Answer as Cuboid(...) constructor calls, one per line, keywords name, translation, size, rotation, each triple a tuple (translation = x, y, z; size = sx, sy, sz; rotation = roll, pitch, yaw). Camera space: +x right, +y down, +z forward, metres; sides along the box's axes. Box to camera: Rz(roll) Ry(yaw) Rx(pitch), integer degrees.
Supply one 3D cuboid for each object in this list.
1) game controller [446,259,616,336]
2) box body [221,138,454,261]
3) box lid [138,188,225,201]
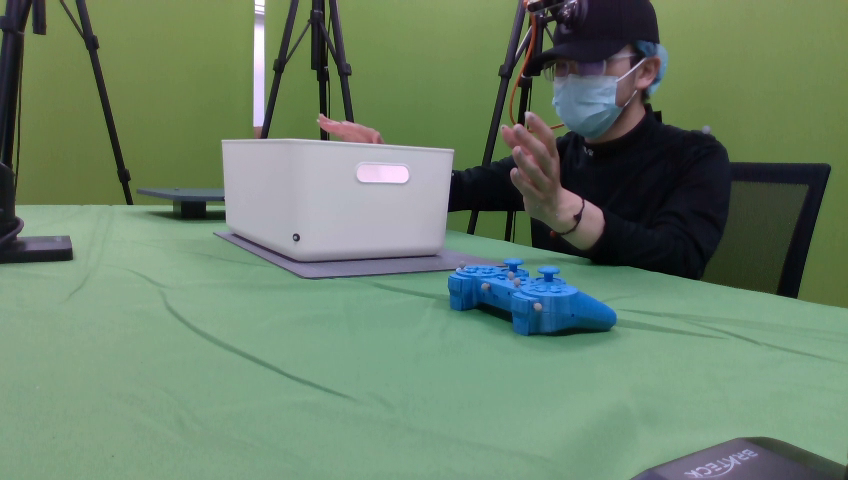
Cuboid(name="game controller", translation=(0.091, 0.048, 0.562), size=(0.097, 0.051, 0.154), rotation=(-6, 10, -32))
Cuboid(name="box body", translation=(-0.151, -0.074, 0.963), size=(0.255, 0.160, 0.362), rotation=(-3, 9, -33))
Cuboid(name="box lid", translation=(-0.433, -0.105, 1.395), size=(0.373, 0.015, 0.262), rotation=(-5, 10, -44))
